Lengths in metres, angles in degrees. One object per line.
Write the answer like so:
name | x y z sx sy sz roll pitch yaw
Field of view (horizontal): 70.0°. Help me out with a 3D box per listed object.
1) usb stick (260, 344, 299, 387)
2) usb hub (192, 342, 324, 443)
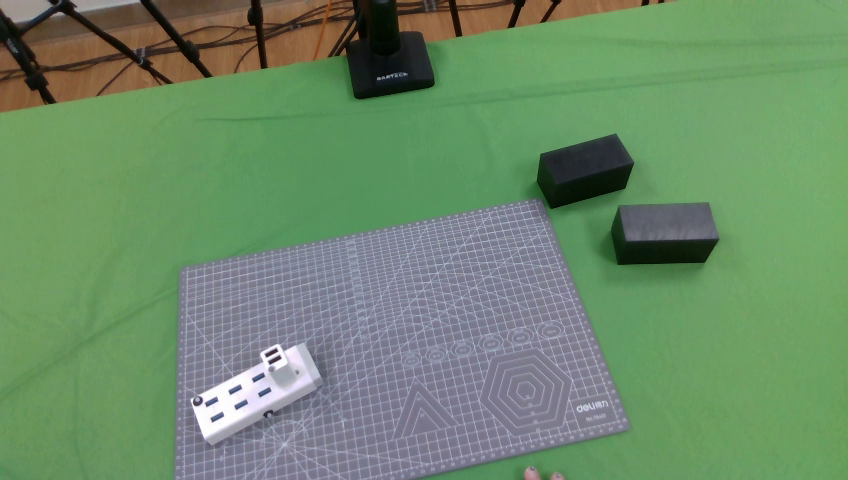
usb stick | -0.143 0.129 0.610 0.021 0.060 0.027 -29 58 -14
usb hub | -0.171 0.156 0.629 0.125 0.025 0.049 -26 58 -14
